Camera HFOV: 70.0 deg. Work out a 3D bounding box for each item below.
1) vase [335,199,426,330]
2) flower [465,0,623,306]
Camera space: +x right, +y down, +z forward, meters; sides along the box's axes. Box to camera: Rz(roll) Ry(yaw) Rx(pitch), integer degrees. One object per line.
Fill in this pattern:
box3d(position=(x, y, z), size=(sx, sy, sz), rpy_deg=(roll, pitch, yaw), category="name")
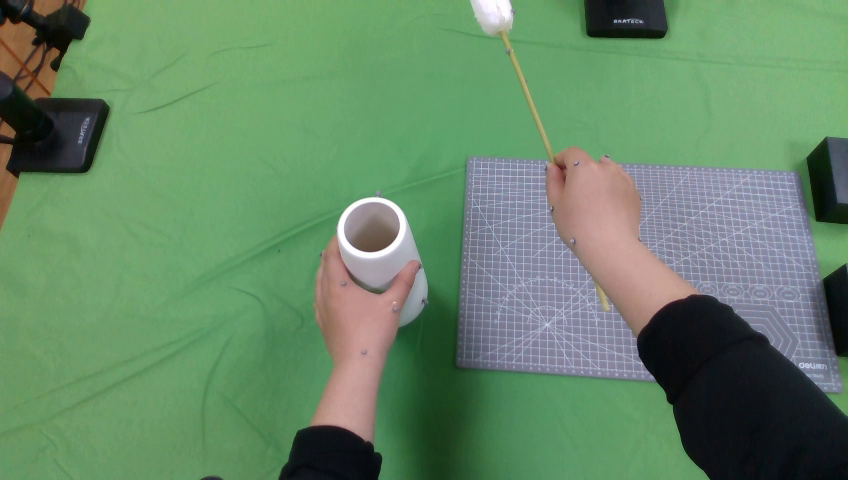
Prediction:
box3d(position=(-0.047, 0.031, 0.677), size=(0.098, 0.201, 0.097), rpy_deg=(0, 64, 1), category="vase")
box3d(position=(0.118, -0.103, 0.595), size=(0.038, 0.044, 0.360), rpy_deg=(-28, 77, 30), category="flower")
